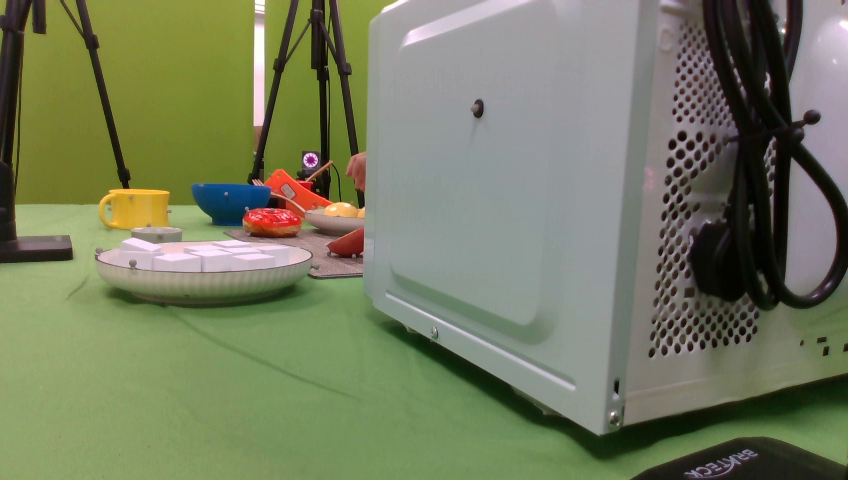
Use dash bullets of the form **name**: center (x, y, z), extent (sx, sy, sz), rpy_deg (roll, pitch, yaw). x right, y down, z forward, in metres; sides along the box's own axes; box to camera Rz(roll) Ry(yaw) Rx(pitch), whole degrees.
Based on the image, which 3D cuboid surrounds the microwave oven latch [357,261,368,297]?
- **microwave oven latch**: center (-0.019, 0.033, 0.530), extent (0.079, 0.029, 0.030), rpy_deg (-1, 7, -26)

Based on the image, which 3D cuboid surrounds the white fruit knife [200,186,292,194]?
- **white fruit knife**: center (-0.399, -0.111, 1.368), extent (0.208, 0.016, 0.027), rpy_deg (-4, -19, -30)

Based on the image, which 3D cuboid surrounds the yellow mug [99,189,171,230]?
- **yellow mug**: center (-0.519, -0.055, 1.080), extent (0.099, 0.064, 0.131), rpy_deg (7, 10, 26)

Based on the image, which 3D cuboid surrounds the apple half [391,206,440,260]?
- **apple half**: center (-0.006, -0.009, 0.837), extent (0.053, 0.074, 0.081), rpy_deg (10, 5, 23)

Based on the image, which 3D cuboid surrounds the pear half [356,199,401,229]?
- **pear half**: center (-0.075, -0.046, 1.132), extent (0.076, 0.056, 0.110), rpy_deg (13, 4, 31)

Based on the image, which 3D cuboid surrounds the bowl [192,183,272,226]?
- **bowl**: center (-0.381, -0.071, 1.202), extent (0.151, 0.077, 0.151), rpy_deg (3, 7, 0)

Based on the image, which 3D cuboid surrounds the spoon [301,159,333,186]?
- **spoon**: center (-0.316, -0.159, 1.639), extent (0.194, 0.022, 0.041), rpy_deg (-49, 32, -20)

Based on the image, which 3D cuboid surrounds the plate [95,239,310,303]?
- **plate**: center (-0.224, 0.031, 0.629), extent (0.208, 0.039, 0.207), rpy_deg (2, 7, 0)

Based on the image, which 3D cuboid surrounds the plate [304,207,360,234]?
- **plate**: center (-0.123, -0.037, 1.149), extent (0.209, 0.038, 0.209), rpy_deg (2, 7, 0)

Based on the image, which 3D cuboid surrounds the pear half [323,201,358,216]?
- **pear half**: center (-0.155, -0.059, 1.197), extent (0.088, 0.031, 0.070), rpy_deg (11, 31, 0)

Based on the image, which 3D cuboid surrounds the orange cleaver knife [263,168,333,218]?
- **orange cleaver knife**: center (-0.262, -0.088, 1.352), extent (0.211, 0.077, 0.012), rpy_deg (28, 13, 0)

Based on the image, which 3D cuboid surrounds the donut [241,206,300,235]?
- **donut**: center (-0.263, -0.032, 1.039), extent (0.099, 0.048, 0.099), rpy_deg (4, 10, 0)

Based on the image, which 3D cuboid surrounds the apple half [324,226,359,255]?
- **apple half**: center (-0.095, 0.002, 0.848), extent (0.081, 0.033, 0.081), rpy_deg (-21, 0, 0)

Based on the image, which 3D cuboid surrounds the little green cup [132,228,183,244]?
- **little green cup**: center (-0.342, 0.006, 0.779), extent (0.061, 0.038, 0.061), rpy_deg (2, 8, 0)

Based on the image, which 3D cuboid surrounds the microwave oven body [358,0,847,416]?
- **microwave oven body**: center (0.211, -0.047, 0.474), extent (0.444, 0.260, 0.324), rpy_deg (-1, 7, -28)

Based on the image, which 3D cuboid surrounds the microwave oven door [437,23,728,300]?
- **microwave oven door**: center (0.181, -0.072, 0.621), extent (0.358, 0.243, 0.039), rpy_deg (-2, 8, -29)

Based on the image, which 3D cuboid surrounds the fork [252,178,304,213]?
- **fork**: center (-0.295, -0.084, 1.292), extent (0.206, 0.018, 0.028), rpy_deg (29, 11, 25)
